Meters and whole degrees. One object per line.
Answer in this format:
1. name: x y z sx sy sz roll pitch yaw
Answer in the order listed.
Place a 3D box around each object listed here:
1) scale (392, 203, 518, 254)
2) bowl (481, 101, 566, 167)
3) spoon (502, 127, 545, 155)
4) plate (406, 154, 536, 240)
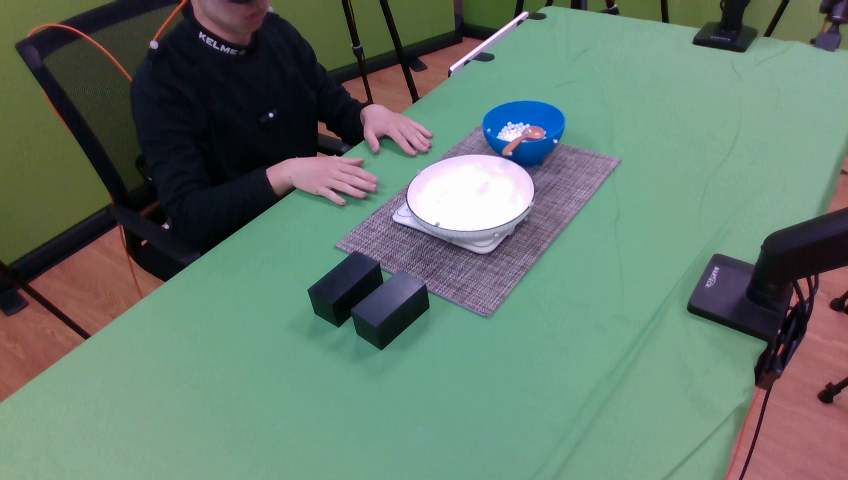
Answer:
1. scale: 0.060 -0.051 1.006 0.199 0.032 0.149 22 48 30
2. bowl: 0.182 -0.186 1.111 0.151 0.077 0.150 -4 40 4
3. spoon: 0.169 -0.173 1.046 0.041 0.021 0.194 21 25 20
4. plate: 0.075 -0.067 0.973 0.209 0.038 0.208 -4 41 4
